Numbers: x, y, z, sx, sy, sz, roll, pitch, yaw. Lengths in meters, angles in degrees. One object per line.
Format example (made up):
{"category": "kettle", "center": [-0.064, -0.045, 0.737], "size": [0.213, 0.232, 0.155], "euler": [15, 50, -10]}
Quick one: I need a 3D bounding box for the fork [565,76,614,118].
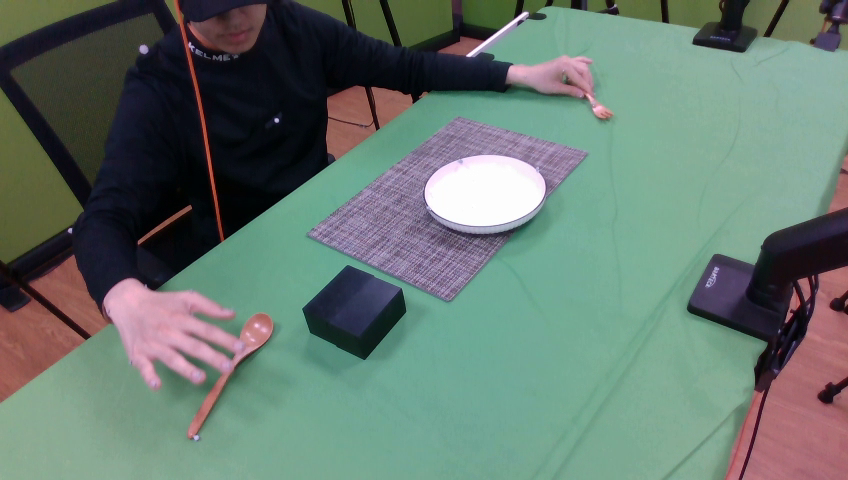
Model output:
{"category": "fork", "center": [0.343, -0.304, 1.273], "size": [0.028, 0.019, 0.206], "euler": [-24, 43, 2]}

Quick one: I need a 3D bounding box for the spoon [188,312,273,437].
{"category": "spoon", "center": [-0.258, 0.173, 0.803], "size": [0.041, 0.021, 0.193], "euler": [20, 45, 6]}

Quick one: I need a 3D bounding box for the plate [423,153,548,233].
{"category": "plate", "center": [0.104, -0.076, 1.024], "size": [0.209, 0.038, 0.208], "euler": [-4, 40, 4]}
